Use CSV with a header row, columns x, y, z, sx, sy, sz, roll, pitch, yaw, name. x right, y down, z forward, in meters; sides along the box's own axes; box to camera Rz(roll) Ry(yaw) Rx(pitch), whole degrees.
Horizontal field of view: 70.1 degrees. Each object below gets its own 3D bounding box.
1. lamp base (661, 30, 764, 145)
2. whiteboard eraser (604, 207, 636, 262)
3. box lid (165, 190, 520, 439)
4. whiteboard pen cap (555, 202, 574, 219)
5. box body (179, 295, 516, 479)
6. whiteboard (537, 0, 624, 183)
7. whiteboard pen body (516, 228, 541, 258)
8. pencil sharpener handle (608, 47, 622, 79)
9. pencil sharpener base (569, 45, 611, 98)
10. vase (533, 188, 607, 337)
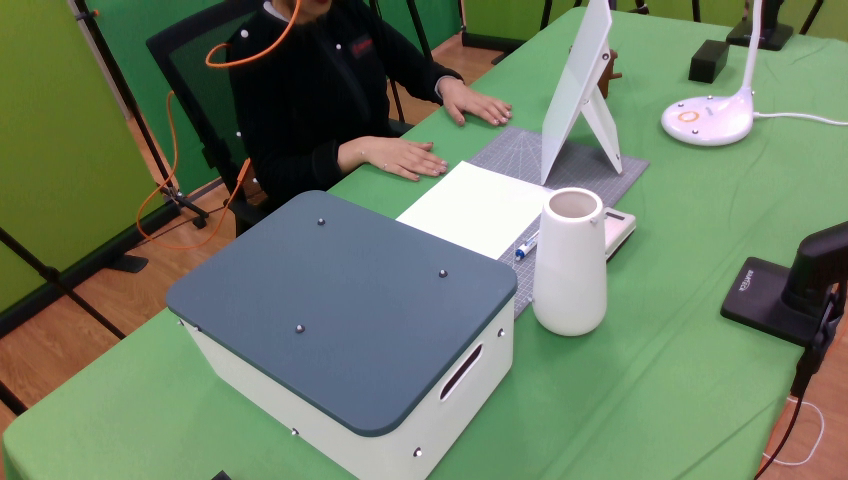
x,y,z,sx,sy,sz,roll,pitch,yaw,name
0.535,-0.287,1.096,0.179,0.181,0.159,-10,40,-4,lamp base
0.272,-0.003,0.919,0.055,0.042,0.113,27,51,33,whiteboard eraser
-0.104,0.056,0.711,0.368,0.015,0.264,22,49,32,box lid
0.230,-0.048,0.994,0.018,0.018,0.033,26,54,34,whiteboard pen cap
-0.093,0.113,0.757,0.361,0.161,0.255,22,49,32,box body
0.316,-0.256,1.047,0.144,0.306,0.216,15,42,-1,whiteboard
0.192,-0.015,0.964,0.017,0.017,0.141,26,51,34,whiteboard pen body
0.395,-0.369,1.254,0.031,0.068,0.036,-10,32,-1,pencil sharpener handle
0.346,-0.352,1.262,0.077,0.107,0.061,-10,40,-1,pencil sharpener base
0.187,0.033,0.771,0.098,0.201,0.097,-6,41,6,vase
